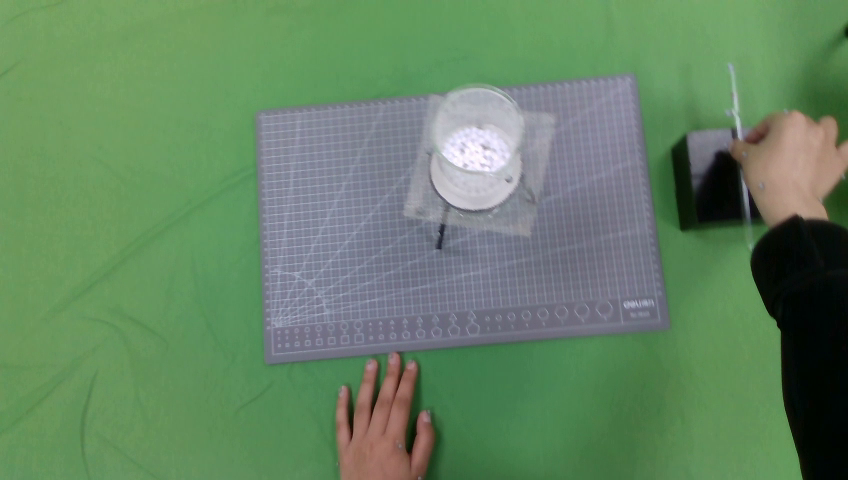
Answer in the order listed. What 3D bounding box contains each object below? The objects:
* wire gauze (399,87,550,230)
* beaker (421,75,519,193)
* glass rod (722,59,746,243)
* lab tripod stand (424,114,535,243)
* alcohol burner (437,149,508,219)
[{"bbox_3d":[0.048,-0.077,0.565,0.121,0.011,0.124,12,81,4],"label":"wire gauze"},{"bbox_3d":[0.042,-0.082,0.518,0.074,0.100,0.083,-33,81,-2],"label":"beaker"},{"bbox_3d":[0.326,-0.095,0.637,0.008,0.008,0.199,-2,82,3],"label":"glass rod"},{"bbox_3d":[0.046,-0.069,0.631,0.148,0.132,0.148,-1,81,5],"label":"lab tripod stand"},{"bbox_3d":[0.051,-0.063,0.639,0.078,0.119,0.077,-1,83,5],"label":"alcohol burner"}]
